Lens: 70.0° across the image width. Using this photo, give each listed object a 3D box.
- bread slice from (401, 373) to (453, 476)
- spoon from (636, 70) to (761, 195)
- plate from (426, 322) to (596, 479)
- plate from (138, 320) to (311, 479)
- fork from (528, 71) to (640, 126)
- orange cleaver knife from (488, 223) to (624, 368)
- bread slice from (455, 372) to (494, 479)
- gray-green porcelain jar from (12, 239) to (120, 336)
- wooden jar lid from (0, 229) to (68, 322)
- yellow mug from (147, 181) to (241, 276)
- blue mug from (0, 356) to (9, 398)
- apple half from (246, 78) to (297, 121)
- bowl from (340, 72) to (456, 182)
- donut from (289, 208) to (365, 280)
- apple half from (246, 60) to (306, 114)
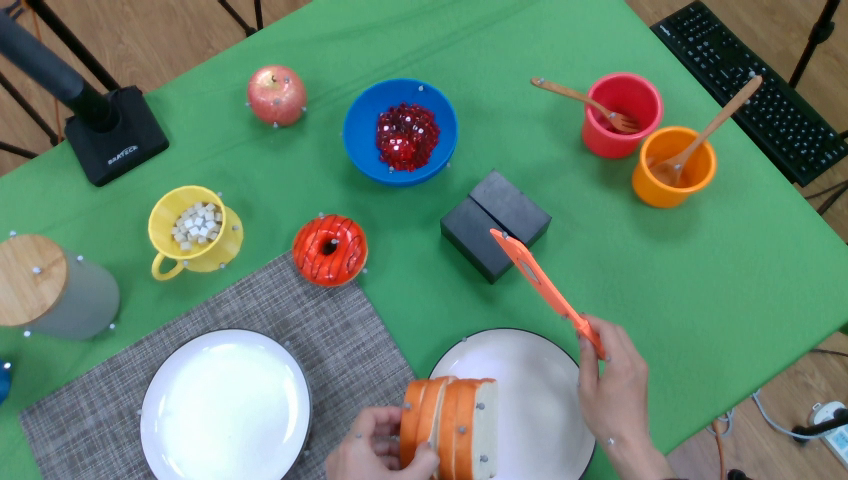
[{"bbox_3d":[0.006,0.187,0.627,0.018,0.135,0.106,-4,72,17],"label":"bread slice"},{"bbox_3d":[0.340,-0.130,0.753,0.041,0.194,0.022,49,36,16],"label":"spoon"},{"bbox_3d":[0.097,0.203,0.723,0.209,0.038,0.208,-1,73,3],"label":"plate"},{"bbox_3d":[-0.238,0.203,0.736,0.207,0.039,0.206,-1,73,3],"label":"plate"},{"bbox_3d":[0.209,-0.180,0.775,0.209,0.018,0.028,12,66,-37],"label":"fork"},{"bbox_3d":[0.145,0.060,0.667,0.012,0.077,0.212,-44,104,-7],"label":"orange cleaver knife"},{"bbox_3d":[0.053,0.186,0.609,0.019,0.132,0.104,-1,78,16],"label":"bread slice"},{"bbox_3d":[-0.451,0.060,0.748,0.106,0.127,0.105,-1,73,3],"label":"gray-green porcelain jar"},{"bbox_3d":[-0.455,0.041,0.688,0.108,0.021,0.107,-1,72,4],"label":"wooden jar lid"},{"bbox_3d":[-0.308,-0.007,0.793,0.099,0.064,0.130,32,78,11],"label":"yellow mug"},{"bbox_3d":[-0.587,0.180,0.729,0.082,0.106,0.116,30,77,12],"label":"blue mug"},{"bbox_3d":[-0.214,-0.184,0.835,0.081,0.082,0.032,22,70,10],"label":"apple half"},{"bbox_3d":[-0.031,-0.138,0.811,0.151,0.077,0.150,-1,74,3],"label":"bowl"},{"bbox_3d":[-0.126,0.006,0.787,0.099,0.048,0.098,-1,74,2],"label":"donut"},{"bbox_3d":[-0.199,-0.217,0.846,0.080,0.075,0.053,21,70,13],"label":"apple half"}]
